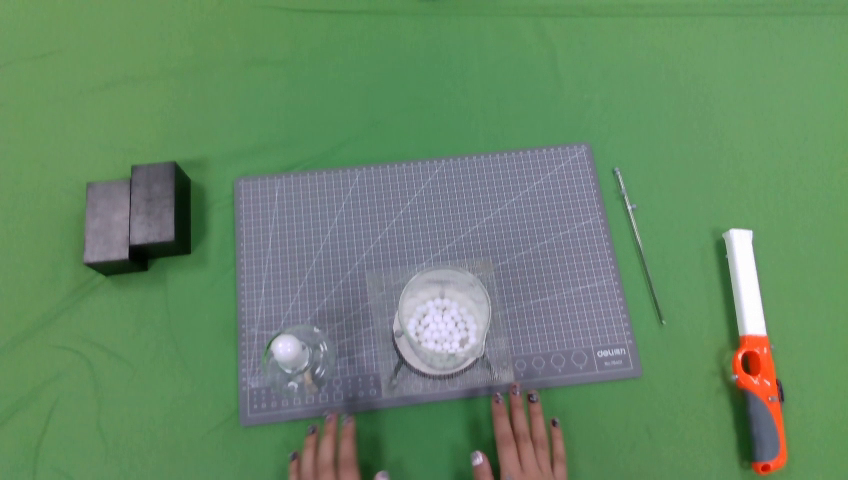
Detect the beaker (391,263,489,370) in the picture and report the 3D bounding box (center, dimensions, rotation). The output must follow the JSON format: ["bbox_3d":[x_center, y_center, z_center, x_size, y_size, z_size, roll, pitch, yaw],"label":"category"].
[{"bbox_3d":[0.016,0.072,0.518,0.074,0.101,0.083,-38,75,-12],"label":"beaker"}]

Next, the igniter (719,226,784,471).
[{"bbox_3d":[0.370,0.116,0.689,0.057,0.025,0.275,5,72,-11],"label":"igniter"}]

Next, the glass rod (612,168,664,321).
[{"bbox_3d":[0.259,0.002,0.733,0.008,0.008,0.198,-10,72,-4],"label":"glass rod"}]

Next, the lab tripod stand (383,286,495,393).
[{"bbox_3d":[0.010,0.103,0.628,0.148,0.132,0.147,0,71,1],"label":"lab tripod stand"}]

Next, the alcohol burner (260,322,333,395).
[{"bbox_3d":[-0.135,0.120,0.630,0.078,0.120,0.077,0,69,-1],"label":"alcohol burner"}]

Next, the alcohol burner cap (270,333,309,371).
[{"bbox_3d":[-0.135,0.109,0.596,0.034,0.048,0.033,0,67,1],"label":"alcohol burner cap"}]

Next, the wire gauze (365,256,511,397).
[{"bbox_3d":[0.011,0.078,0.567,0.125,0.011,0.120,-8,70,-1],"label":"wire gauze"}]
